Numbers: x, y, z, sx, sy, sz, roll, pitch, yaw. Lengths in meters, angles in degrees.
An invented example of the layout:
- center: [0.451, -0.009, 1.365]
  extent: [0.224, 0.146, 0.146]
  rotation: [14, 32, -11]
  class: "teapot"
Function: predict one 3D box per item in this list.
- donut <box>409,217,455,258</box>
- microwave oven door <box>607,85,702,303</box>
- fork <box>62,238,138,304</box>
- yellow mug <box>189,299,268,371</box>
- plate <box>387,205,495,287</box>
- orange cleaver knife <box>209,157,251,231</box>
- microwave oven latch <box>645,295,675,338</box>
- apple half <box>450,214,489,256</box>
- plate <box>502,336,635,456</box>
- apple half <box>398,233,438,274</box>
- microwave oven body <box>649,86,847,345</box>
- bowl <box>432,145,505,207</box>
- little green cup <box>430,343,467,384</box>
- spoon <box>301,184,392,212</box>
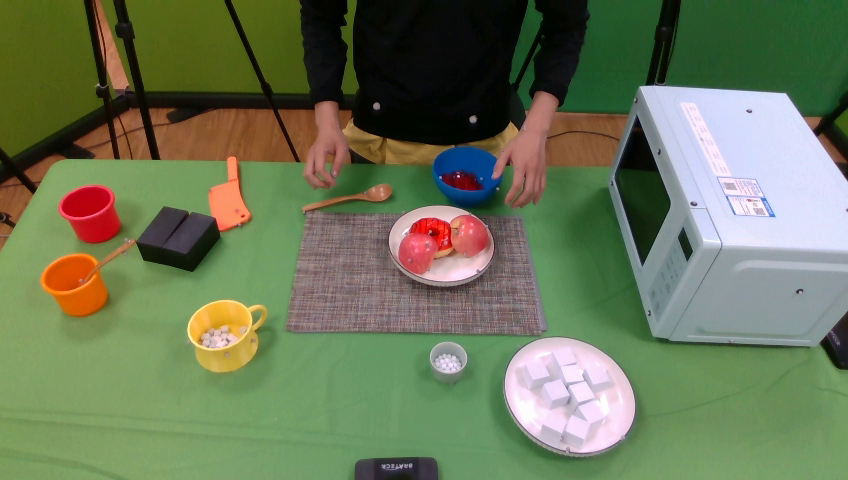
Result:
- center: [0.019, -0.006, 1.174]
  extent: [0.099, 0.048, 0.098]
  rotation: [2, 44, -2]
  class: "donut"
- center: [0.423, -0.094, 1.141]
  extent: [0.039, 0.245, 0.353]
  rotation: [2, 46, -1]
  class: "microwave oven door"
- center: [-0.547, 0.053, 1.018]
  extent: [0.207, 0.019, 0.028]
  rotation: [-36, 41, 23]
  class: "fork"
- center: [-0.316, 0.148, 1.002]
  extent: [0.131, 0.064, 0.099]
  rotation: [-33, 56, -31]
  class: "yellow mug"
- center: [0.033, 0.014, 1.171]
  extent: [0.209, 0.038, 0.208]
  rotation: [2, 46, -2]
  class: "plate"
- center: [-0.409, -0.099, 1.266]
  extent: [0.077, 0.012, 0.210]
  rotation: [-14, 50, -10]
  class: "orange cleaver knife"
- center: [0.412, 0.134, 1.061]
  extent: [0.030, 0.029, 0.078]
  rotation: [3, 45, 0]
  class: "microwave oven latch"
- center: [0.092, -0.013, 1.158]
  extent: [0.075, 0.053, 0.080]
  rotation: [35, 39, -28]
  class: "apple half"
- center: [0.225, 0.248, 0.964]
  extent: [0.208, 0.039, 0.206]
  rotation: [2, 46, -2]
  class: "plate"
- center: [-0.016, 0.022, 1.123]
  extent: [0.081, 0.033, 0.081]
  rotation: [-2, 83, 14]
  class: "apple half"
- center: [0.568, -0.053, 1.118]
  extent: [0.326, 0.261, 0.439]
  rotation: [2, 45, -1]
  class: "microwave oven body"
- center: [0.091, -0.124, 1.287]
  extent: [0.151, 0.077, 0.150]
  rotation: [3, 46, -2]
  class: "bowl"
- center: [0.039, 0.203, 0.994]
  extent: [0.061, 0.039, 0.061]
  rotation: [2, 46, -2]
  class: "little green cup"
- center: [-0.162, -0.087, 1.270]
  extent: [0.194, 0.022, 0.041]
  rotation: [-11, 63, -15]
  class: "spoon"
